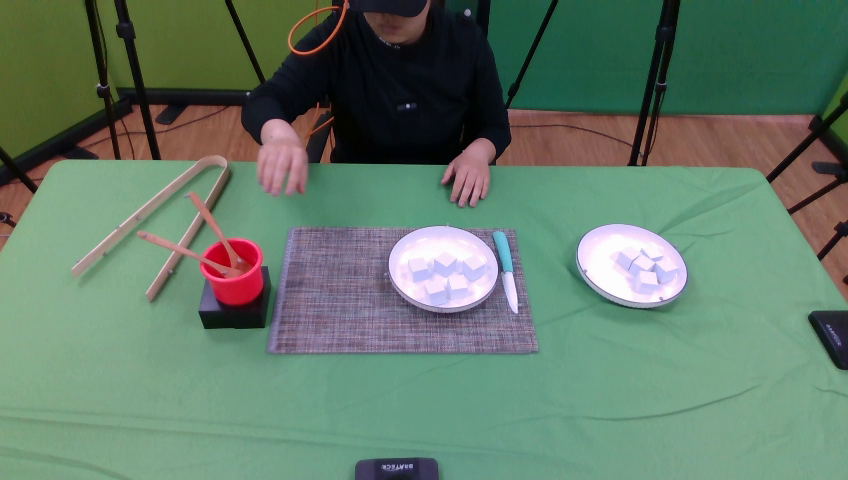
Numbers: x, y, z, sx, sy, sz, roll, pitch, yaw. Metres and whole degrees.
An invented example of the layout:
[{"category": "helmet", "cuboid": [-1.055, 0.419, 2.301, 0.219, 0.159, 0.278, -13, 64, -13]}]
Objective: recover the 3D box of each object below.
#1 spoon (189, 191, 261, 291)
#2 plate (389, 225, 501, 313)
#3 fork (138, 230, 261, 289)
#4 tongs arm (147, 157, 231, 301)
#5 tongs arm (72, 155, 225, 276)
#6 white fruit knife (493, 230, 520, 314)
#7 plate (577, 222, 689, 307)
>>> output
[{"category": "spoon", "cuboid": [-0.333, 0.001, 1.012, 0.041, 0.194, 0.021, -34, 15, -25]}, {"category": "plate", "cuboid": [0.038, 0.057, 1.128, 0.208, 0.039, 0.206, 2, 46, -2]}, {"category": "fork", "cuboid": [-0.360, 0.032, 0.981, 0.208, 0.018, 0.028, 31, 60, -30]}, {"category": "tongs arm", "cuboid": [-0.454, -0.035, 1.194, 0.028, 0.028, 0.385, 7, 46, 6]}, {"category": "tongs arm", "cuboid": [-0.531, -0.058, 1.204, 0.050, 0.026, 0.383, 19, 47, 13]}, {"category": "white fruit knife", "cuboid": [0.160, 0.057, 1.154, 0.027, 0.016, 0.206, -21, 46, 16]}, {"category": "plate", "cuboid": [0.396, 0.050, 1.165, 0.209, 0.038, 0.208, 2, 47, -2]}]
